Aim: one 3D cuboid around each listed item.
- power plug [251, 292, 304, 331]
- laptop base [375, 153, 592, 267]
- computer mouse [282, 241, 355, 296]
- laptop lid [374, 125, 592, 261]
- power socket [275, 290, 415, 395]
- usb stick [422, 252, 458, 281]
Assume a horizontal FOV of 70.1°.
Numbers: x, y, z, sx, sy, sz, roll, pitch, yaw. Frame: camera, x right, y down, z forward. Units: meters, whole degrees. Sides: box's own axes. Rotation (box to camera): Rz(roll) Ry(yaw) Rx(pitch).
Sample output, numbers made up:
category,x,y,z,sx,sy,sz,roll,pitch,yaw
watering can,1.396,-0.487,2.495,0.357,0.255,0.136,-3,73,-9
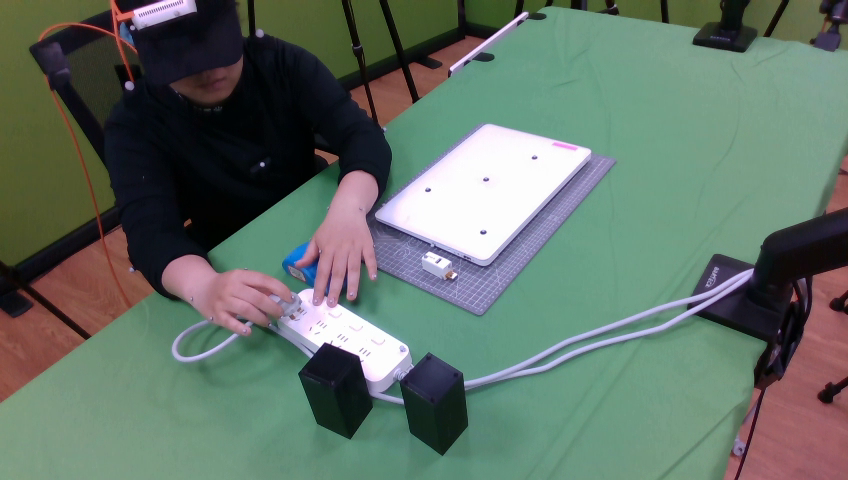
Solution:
category,x,y,z,sx,sy,sz,roll,pitch,yaw
power plug,-0.198,0.099,0.819,0.072,0.053,0.035,-40,46,-3
laptop base,0.112,-0.091,1.063,0.233,0.023,0.355,21,47,34
computer mouse,-0.164,0.040,0.935,0.116,0.041,0.063,29,49,30
laptop lid,0.109,-0.101,1.057,0.239,0.013,0.358,23,48,34
power socket,-0.113,0.134,0.820,0.225,0.033,0.072,25,50,33
usb stick,0.025,0.042,0.908,0.058,0.027,0.021,27,49,31
